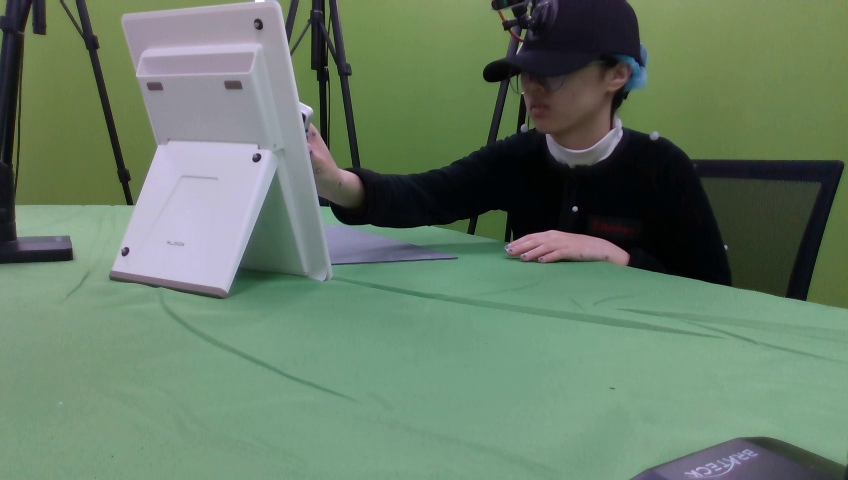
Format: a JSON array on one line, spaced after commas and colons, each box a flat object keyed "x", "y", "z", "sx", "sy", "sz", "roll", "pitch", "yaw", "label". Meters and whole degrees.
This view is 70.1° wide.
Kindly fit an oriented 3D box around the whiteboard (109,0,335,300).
[{"x": -0.247, "y": -0.072, "z": 0.624, "sx": 0.216, "sy": 0.305, "sz": 0.144, "roll": 6, "pitch": 28, "yaw": 26, "label": "whiteboard"}]

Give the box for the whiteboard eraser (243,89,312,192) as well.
[{"x": -0.170, "y": -0.110, "z": 0.688, "sx": 0.055, "sy": 0.112, "sz": 0.042, "roll": 28, "pitch": 37, "yaw": 0, "label": "whiteboard eraser"}]
